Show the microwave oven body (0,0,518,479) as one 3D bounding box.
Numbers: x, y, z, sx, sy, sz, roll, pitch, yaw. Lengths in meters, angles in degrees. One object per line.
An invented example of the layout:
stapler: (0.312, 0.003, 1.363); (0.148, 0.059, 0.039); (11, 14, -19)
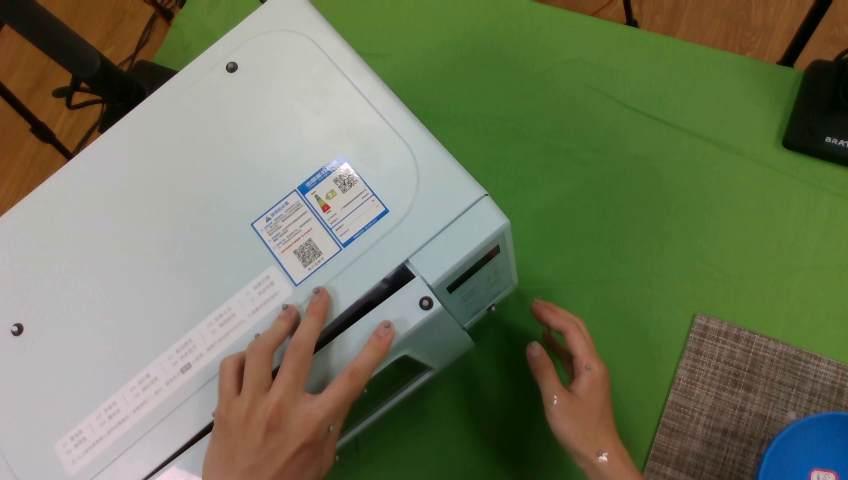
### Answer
microwave oven body: (-0.177, 0.035, 0.604); (0.441, 0.262, 0.324); (-40, 72, -2)

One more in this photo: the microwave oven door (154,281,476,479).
microwave oven door: (-0.115, 0.172, 0.550); (0.356, 0.245, 0.039); (-37, 71, -1)

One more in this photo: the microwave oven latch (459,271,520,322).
microwave oven latch: (0.067, 0.054, 0.656); (0.079, 0.030, 0.030); (-38, 72, -1)

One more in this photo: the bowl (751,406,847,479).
bowl: (0.368, 0.228, 0.549); (0.151, 0.077, 0.150); (-3, 74, 10)
